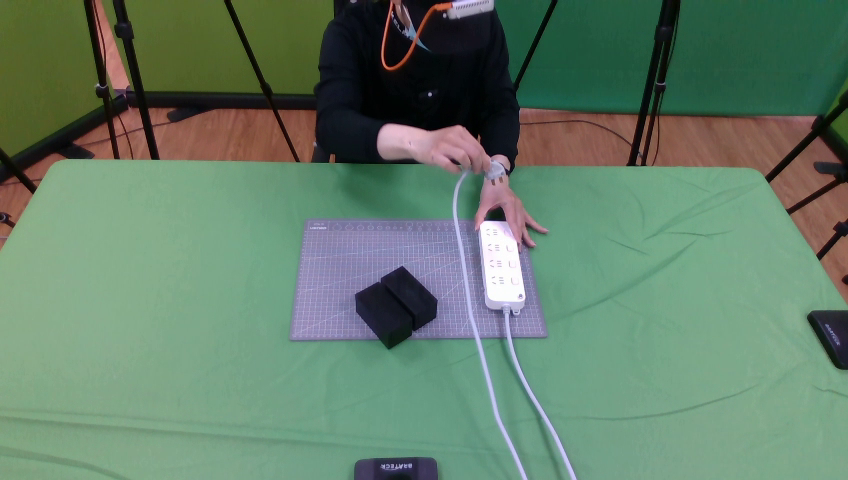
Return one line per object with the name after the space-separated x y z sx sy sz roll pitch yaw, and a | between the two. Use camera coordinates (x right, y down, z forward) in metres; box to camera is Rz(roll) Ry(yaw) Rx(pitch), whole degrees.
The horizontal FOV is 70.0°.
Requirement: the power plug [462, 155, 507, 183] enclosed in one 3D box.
0.109 -0.123 1.066 0.072 0.053 0.035 -6 35 21 | power plug

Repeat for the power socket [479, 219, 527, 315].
0.148 0.041 1.150 0.072 0.033 0.225 1 47 -2 | power socket
